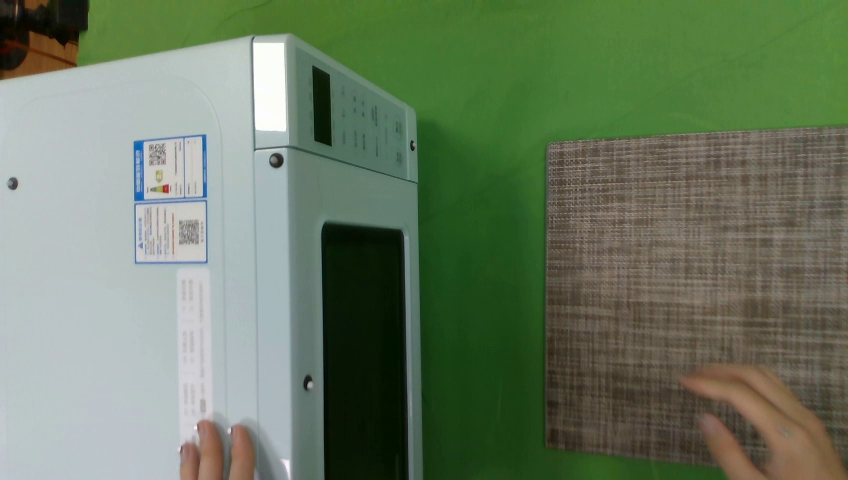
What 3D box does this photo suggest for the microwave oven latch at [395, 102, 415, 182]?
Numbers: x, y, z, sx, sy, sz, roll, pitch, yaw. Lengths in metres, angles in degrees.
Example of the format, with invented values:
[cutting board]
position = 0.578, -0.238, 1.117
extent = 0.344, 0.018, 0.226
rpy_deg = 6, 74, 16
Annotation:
[microwave oven latch]
position = -0.025, -0.099, 0.619
extent = 0.030, 0.029, 0.079
rpy_deg = 0, 90, 20

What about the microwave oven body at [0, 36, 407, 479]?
[microwave oven body]
position = -0.195, 0.081, 0.578
extent = 0.325, 0.261, 0.441
rpy_deg = -2, 90, 20

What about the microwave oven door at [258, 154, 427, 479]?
[microwave oven door]
position = -0.058, 0.118, 0.522
extent = 0.039, 0.245, 0.355
rpy_deg = -2, 89, 21
